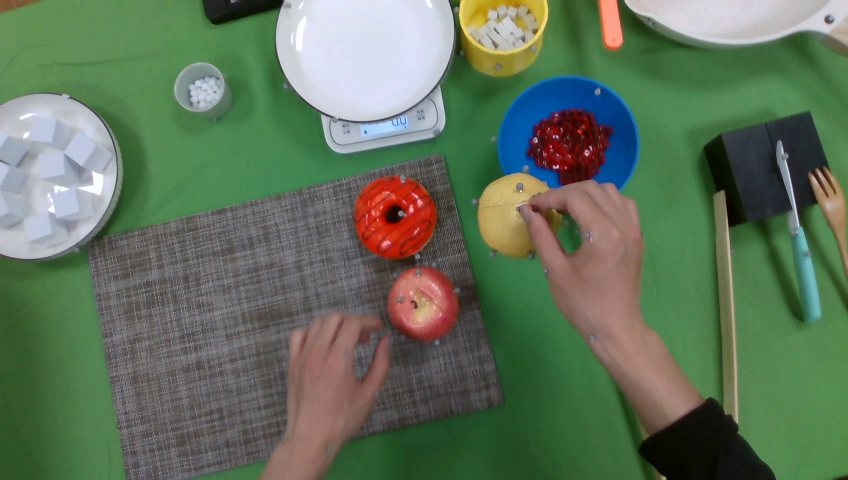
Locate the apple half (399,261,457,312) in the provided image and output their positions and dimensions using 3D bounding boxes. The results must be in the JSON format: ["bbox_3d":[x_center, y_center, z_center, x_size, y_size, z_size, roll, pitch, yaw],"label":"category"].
[{"bbox_3d":[0.012,0.045,0.673,0.081,0.081,0.033,39,91,7],"label":"apple half"}]

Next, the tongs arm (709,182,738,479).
[{"bbox_3d":[0.328,0.128,0.674,0.028,0.028,0.386,2,84,-4],"label":"tongs arm"}]

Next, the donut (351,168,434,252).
[{"bbox_3d":[-0.037,-0.034,0.701,0.099,0.048,0.099,-1,84,6],"label":"donut"}]

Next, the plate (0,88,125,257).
[{"bbox_3d":[-0.463,-0.081,0.741,0.207,0.039,0.207,0,84,4],"label":"plate"}]

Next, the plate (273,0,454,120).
[{"bbox_3d":[-0.068,-0.238,0.702,0.209,0.038,0.208,0,84,3],"label":"plate"}]

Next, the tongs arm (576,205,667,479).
[{"bbox_3d":[0.243,0.140,0.673,0.051,0.026,0.383,-13,84,-3],"label":"tongs arm"}]

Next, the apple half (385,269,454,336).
[{"bbox_3d":[-0.012,0.076,0.673,0.080,0.075,0.053,41,90,4],"label":"apple half"}]

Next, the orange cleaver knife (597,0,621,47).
[{"bbox_3d":[0.209,-0.319,0.671,0.077,0.012,0.210,-9,84,5],"label":"orange cleaver knife"}]

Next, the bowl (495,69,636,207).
[{"bbox_3d":[0.154,-0.105,0.683,0.151,0.077,0.151,0,85,4],"label":"bowl"}]

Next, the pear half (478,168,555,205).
[{"bbox_3d":[0.082,-0.050,0.554,0.070,0.088,0.031,-15,89,-1],"label":"pear half"}]

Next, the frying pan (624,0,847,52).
[{"bbox_3d":[0.407,-0.284,0.672,0.307,0.103,0.485,-41,75,0],"label":"frying pan"}]

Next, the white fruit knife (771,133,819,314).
[{"bbox_3d":[0.400,-0.015,0.657,0.016,0.027,0.208,-16,98,3],"label":"white fruit knife"}]

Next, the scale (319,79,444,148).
[{"bbox_3d":[-0.062,-0.219,0.733,0.148,0.031,0.200,-10,84,3],"label":"scale"}]

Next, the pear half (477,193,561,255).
[{"bbox_3d":[0.090,-0.015,0.544,0.076,0.110,0.056,-14,88,0],"label":"pear half"}]

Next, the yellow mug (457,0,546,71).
[{"bbox_3d":[0.078,-0.269,0.711,0.130,0.064,0.100,44,89,8],"label":"yellow mug"}]

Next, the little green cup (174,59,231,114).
[{"bbox_3d":[-0.267,-0.184,0.739,0.061,0.039,0.061,0,83,4],"label":"little green cup"}]

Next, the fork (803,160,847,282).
[{"bbox_3d":[0.457,0.011,0.658,0.028,0.018,0.208,-24,98,0],"label":"fork"}]
